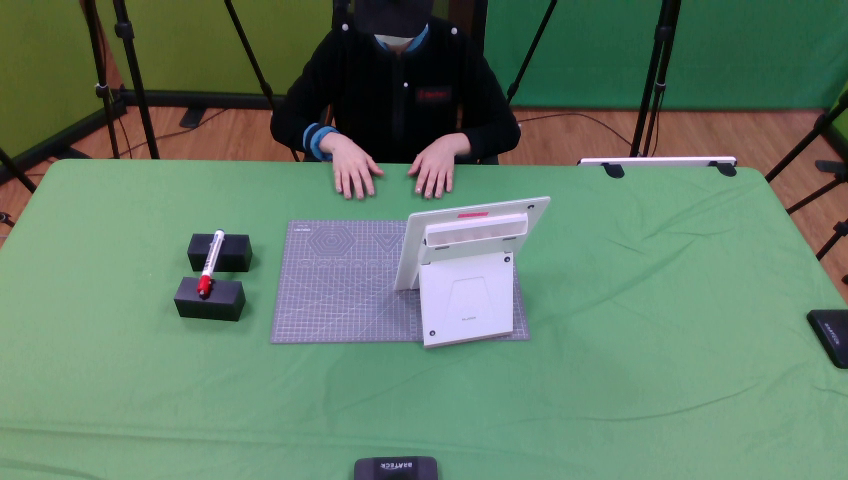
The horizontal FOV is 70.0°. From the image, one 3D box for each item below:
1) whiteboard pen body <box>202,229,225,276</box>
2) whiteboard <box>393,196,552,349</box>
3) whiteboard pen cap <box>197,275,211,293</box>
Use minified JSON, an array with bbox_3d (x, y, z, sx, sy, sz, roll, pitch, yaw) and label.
[{"bbox_3d":[-0.374,0.032,1.071,0.017,0.017,0.139,2,45,-2],"label":"whiteboard pen body"},{"bbox_3d":[0.077,0.071,0.977,0.217,0.306,0.143,-7,66,-11],"label":"whiteboard"},{"bbox_3d":[-0.373,0.074,1.031,0.017,0.017,0.032,2,44,-2],"label":"whiteboard pen cap"}]
